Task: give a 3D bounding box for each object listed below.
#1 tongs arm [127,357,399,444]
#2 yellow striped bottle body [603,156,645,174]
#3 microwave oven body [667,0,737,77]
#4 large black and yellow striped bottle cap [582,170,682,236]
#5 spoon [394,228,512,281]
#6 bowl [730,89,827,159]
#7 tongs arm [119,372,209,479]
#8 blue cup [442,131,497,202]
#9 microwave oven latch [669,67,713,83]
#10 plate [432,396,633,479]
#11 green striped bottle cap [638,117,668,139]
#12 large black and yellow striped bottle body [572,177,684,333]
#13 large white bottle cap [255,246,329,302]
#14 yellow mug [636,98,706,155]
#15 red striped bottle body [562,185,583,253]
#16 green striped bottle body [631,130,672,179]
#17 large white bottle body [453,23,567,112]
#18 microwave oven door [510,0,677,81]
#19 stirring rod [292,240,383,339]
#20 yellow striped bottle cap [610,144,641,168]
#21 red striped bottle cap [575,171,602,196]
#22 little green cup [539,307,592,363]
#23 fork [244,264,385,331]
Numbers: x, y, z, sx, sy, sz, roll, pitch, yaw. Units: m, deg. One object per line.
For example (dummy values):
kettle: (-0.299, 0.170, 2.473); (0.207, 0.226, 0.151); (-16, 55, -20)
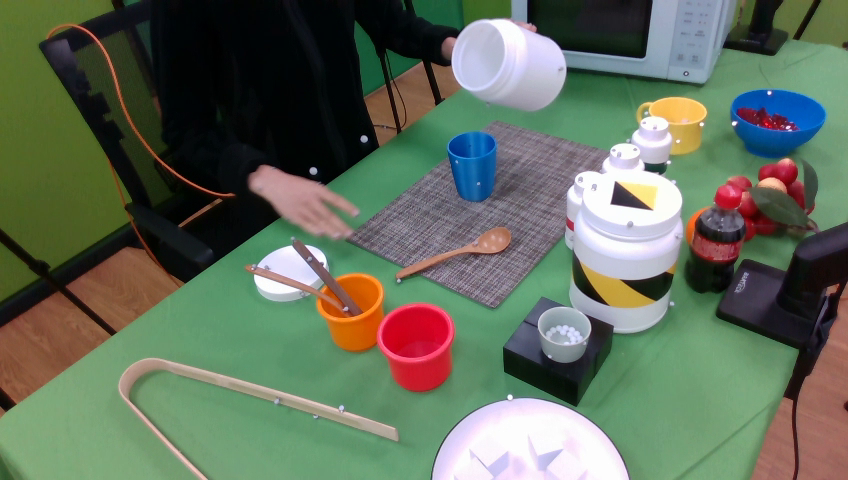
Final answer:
tongs arm: (-0.213, 0.205, 0.755); (0.382, 0.026, 0.051); (12, 46, 23)
yellow striped bottle body: (0.313, -0.089, 0.956); (0.063, 0.121, 0.062); (-4, 40, 4)
microwave oven body: (0.462, -0.552, 1.368); (0.439, 0.261, 0.326); (14, 45, 26)
large black and yellow striped bottle cap: (0.252, -0.048, 0.735); (0.115, 0.019, 0.114); (-3, 40, 3)
spoon: (0.045, 0.024, 0.935); (0.194, 0.022, 0.041); (-18, 66, -11)
bowl: (0.615, -0.197, 1.069); (0.151, 0.077, 0.150); (-5, 40, 5)
tongs arm: (-0.258, 0.257, 0.700); (0.384, 0.028, 0.028); (24, 55, 34)
blue cup: (0.084, -0.122, 1.040); (0.092, 0.100, 0.092); (-4, 41, 4)
microwave oven latch: (0.556, -0.349, 1.261); (0.078, 0.029, 0.030); (16, 46, 27)
plate: (0.112, 0.261, 0.634); (0.209, 0.038, 0.208); (-5, 40, 4)
green striped bottle cap: (0.369, -0.180, 0.974); (0.044, 0.020, 0.044); (-4, 41, 4)
large black and yellow striped bottle body: (0.262, 0.017, 0.788); (0.131, 0.185, 0.130); (-5, 40, 4)
large white bottle cap: (-0.208, 0.051, 0.952); (0.115, 0.018, 0.114); (-4, 40, 3)
yellow mug: (0.453, -0.217, 1.128); (0.100, 0.064, 0.129); (-34, 46, -27)
red striped bottle body: (0.246, -0.040, 0.910); (0.063, 0.120, 0.062); (0, 38, 0)
green striped bottle body: (0.375, -0.140, 1.007); (0.063, 0.120, 0.063); (-5, 40, 5)
large white bottle body: (0.147, -0.292, 1.030); (0.129, 0.130, 0.186); (28, 21, 35)
microwave oven door: (0.354, -0.478, 1.290); (0.353, 0.245, 0.039); (15, 45, 25)
stirring rod: (-0.118, 0.068, 0.825); (0.176, 0.006, 0.014); (48, 59, -3)
yellow striped bottle cap: (0.307, -0.128, 0.923); (0.044, 0.019, 0.044); (-6, 39, 5)
red striped bottle cap: (0.242, -0.081, 0.876); (0.044, 0.018, 0.044); (-5, 44, 5)
little green cup: (0.168, 0.115, 0.721); (0.061, 0.039, 0.061); (-4, 42, 4)
fork: (-0.142, 0.078, 0.807); (0.209, 0.018, 0.028); (30, 38, -24)
